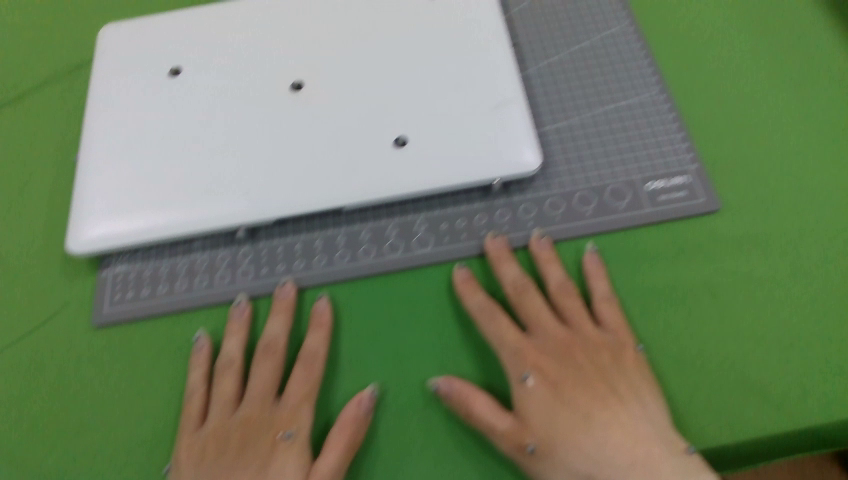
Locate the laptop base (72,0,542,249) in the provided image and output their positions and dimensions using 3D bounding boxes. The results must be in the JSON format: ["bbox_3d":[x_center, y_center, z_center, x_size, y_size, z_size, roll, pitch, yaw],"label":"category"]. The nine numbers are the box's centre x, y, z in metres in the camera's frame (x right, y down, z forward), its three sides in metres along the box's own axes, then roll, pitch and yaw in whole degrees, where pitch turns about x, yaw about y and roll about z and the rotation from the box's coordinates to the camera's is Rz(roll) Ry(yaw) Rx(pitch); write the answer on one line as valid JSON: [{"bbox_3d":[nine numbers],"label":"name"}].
[{"bbox_3d":[-0.101,-0.120,0.503,0.354,0.023,0.233,-10,64,-1],"label":"laptop base"}]

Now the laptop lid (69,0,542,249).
[{"bbox_3d":[-0.102,-0.124,0.491,0.357,0.013,0.239,-9,63,-1],"label":"laptop lid"}]
